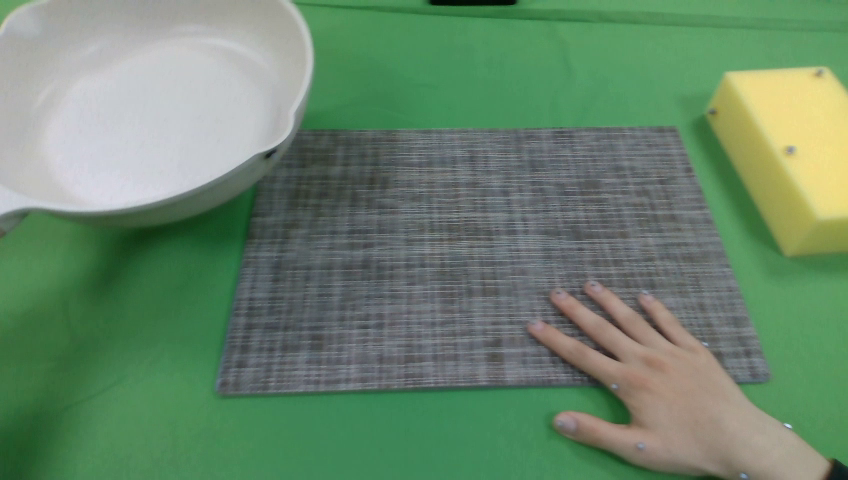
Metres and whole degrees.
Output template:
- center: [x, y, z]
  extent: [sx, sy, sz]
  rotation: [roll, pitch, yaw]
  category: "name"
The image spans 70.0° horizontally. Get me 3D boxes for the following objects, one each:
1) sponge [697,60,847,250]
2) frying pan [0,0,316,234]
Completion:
- center: [0.382, -0.092, 0.616]
  extent: [0.118, 0.061, 0.204]
  rotation: [-6, 54, -6]
  category: "sponge"
- center: [-0.289, -0.064, 0.467]
  extent: [0.305, 0.103, 0.486]
  rotation: [27, 55, 17]
  category: "frying pan"
